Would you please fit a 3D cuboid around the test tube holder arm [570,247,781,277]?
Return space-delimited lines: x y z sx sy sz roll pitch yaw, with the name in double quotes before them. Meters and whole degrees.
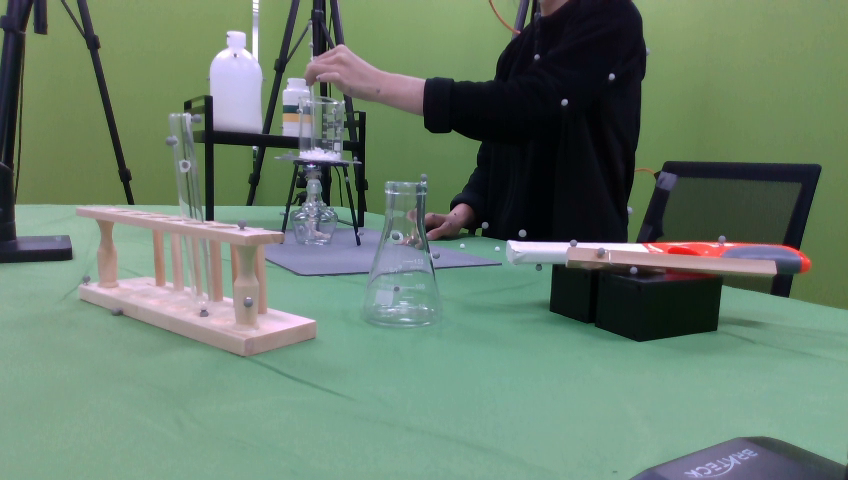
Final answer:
"test tube holder arm" 0.217 0.019 0.524 0.178 0.015 0.013 3 -23 3

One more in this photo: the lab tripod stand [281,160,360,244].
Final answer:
"lab tripod stand" -0.170 -0.063 0.983 0.148 0.131 0.148 1 6 0

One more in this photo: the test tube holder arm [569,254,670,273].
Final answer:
"test tube holder arm" 0.172 0.019 0.532 0.088 0.015 0.010 3 -23 4

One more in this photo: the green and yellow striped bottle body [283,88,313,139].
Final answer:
"green and yellow striped bottle body" -0.265 -0.275 1.275 0.063 0.119 0.063 3 7 0

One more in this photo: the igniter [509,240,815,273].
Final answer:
"igniter" 0.220 0.015 0.566 0.277 0.025 0.057 2 16 0

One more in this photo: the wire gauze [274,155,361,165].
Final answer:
"wire gauze" -0.174 -0.129 0.978 0.125 0.011 0.121 -2 6 -19

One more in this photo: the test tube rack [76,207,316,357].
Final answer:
"test tube rack" -0.196 0.023 0.499 0.241 0.085 0.067 8 9 36

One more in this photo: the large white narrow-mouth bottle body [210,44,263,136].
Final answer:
"large white narrow-mouth bottle body" -0.369 -0.305 1.194 0.102 0.194 0.102 3 8 0

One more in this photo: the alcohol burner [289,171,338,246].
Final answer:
"alcohol burner" -0.177 -0.051 0.968 0.078 0.119 0.078 1 6 0

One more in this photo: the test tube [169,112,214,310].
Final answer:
"test tube" -0.175 -0.020 0.455 0.017 0.150 0.017 -3 9 1

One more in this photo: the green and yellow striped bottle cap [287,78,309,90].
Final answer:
"green and yellow striped bottle cap" -0.265 -0.326 1.268 0.045 0.020 0.045 4 6 0

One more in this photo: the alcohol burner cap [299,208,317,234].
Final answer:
"alcohol burner cap" -0.213 -0.035 1.110 0.034 0.048 0.034 2 7 0

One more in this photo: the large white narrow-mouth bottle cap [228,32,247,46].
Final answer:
"large white narrow-mouth bottle cap" -0.364 -0.391 1.180 0.038 0.024 0.037 4 8 0

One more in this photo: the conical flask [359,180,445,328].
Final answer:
"conical flask" -0.017 0.010 0.522 0.075 0.122 0.075 2 7 0

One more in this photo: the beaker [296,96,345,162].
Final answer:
"beaker" -0.163 -0.175 0.966 0.083 0.100 0.074 8 8 34

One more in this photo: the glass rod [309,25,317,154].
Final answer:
"glass rod" -0.177 -0.236 0.963 0.008 0.199 0.008 1 16 0
